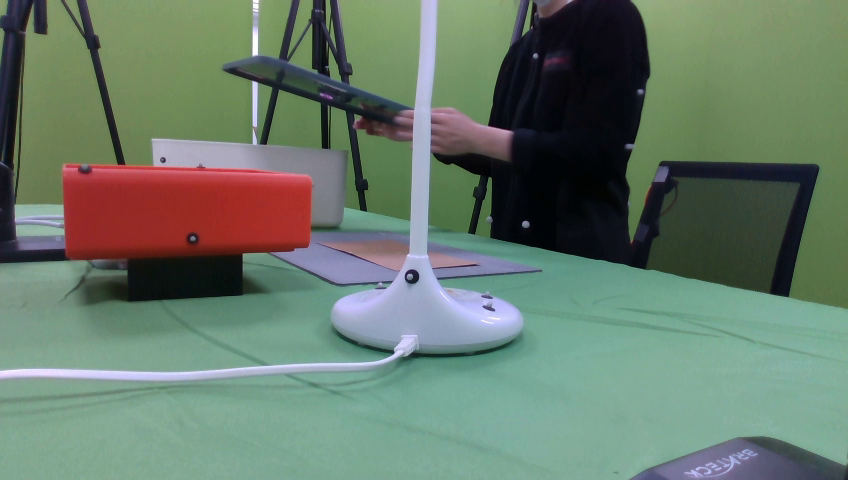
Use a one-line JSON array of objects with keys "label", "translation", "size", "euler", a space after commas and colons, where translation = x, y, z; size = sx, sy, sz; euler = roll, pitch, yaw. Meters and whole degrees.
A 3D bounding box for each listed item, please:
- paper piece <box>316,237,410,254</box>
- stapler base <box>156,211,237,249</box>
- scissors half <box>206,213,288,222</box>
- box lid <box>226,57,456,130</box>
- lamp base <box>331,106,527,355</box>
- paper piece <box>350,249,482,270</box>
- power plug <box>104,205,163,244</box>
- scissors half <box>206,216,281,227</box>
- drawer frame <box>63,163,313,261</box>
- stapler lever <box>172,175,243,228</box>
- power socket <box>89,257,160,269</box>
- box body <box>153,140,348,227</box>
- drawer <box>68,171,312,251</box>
[{"label": "paper piece", "translation": [-0.083, 0.008, 0.952], "size": [0.136, 0.004, 0.134], "euler": [-2, 10, -31]}, {"label": "stapler base", "translation": [-0.227, -0.017, 0.624], "size": [0.041, 0.024, 0.130], "euler": [19, 10, -2]}, {"label": "scissors half", "translation": [-0.361, -0.046, 1.233], "size": [0.175, 0.013, 0.040], "euler": [1, 15, 4]}, {"label": "box lid", "translation": [-0.146, -0.256, 1.093], "size": [0.374, 0.015, 0.262], "euler": [11, 5, -35]}, {"label": "lamp base", "translation": [0.006, -0.012, 0.478], "size": [0.161, 0.180, 0.179], "euler": [2, 10, 2]}, {"label": "paper piece", "translation": [-0.013, 0.026, 0.841], "size": [0.139, 0.008, 0.135], "euler": [-1, 11, -32]}, {"label": "power plug", "translation": [-0.390, -0.021, 0.815], "size": [0.073, 0.052, 0.035], "euler": [-1, 7, -27]}, {"label": "scissors half", "translation": [-0.366, -0.040, 1.214], "size": [0.174, 0.013, 0.040], "euler": [6, 21, 21]}, {"label": "drawer frame", "translation": [-0.248, -0.036, 0.626], "size": [0.215, 0.082, 0.200], "euler": [-3, 9, -31]}, {"label": "stapler lever", "translation": [-0.217, -0.041, 0.618], "size": [0.027, 0.040, 0.118], "euler": [19, 11, -2]}, {"label": "power socket", "translation": [-0.409, 0.004, 0.793], "size": [0.072, 0.032, 0.225], "euler": [-2, 8, -38]}, {"label": "box body", "translation": [-0.357, -0.119, 1.264], "size": [0.365, 0.160, 0.253], "euler": [0, 7, -18]}, {"label": "drawer", "translation": [-0.247, -0.036, 0.629], "size": [0.213, 0.073, 0.193], "euler": [-3, 9, -30]}]
